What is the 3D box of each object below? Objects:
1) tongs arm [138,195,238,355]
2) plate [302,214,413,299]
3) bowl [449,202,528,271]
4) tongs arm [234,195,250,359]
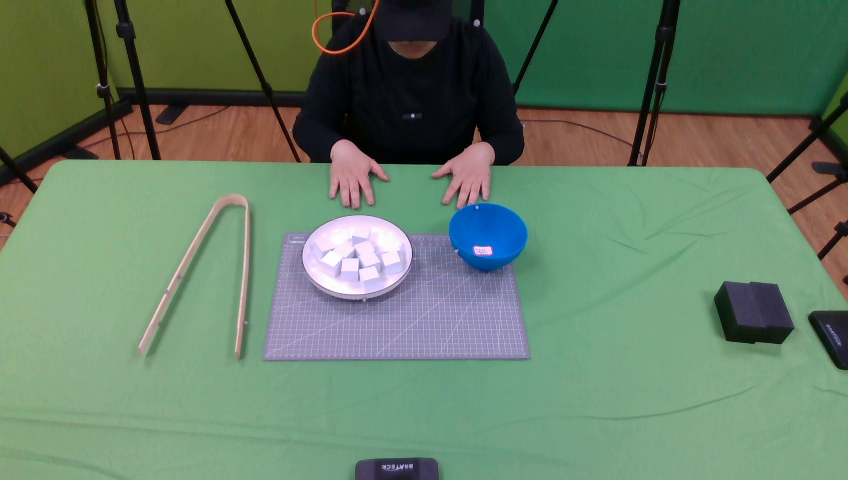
[{"bbox_3d":[-0.421,0.047,1.111,0.051,0.026,0.382,6,45,0],"label":"tongs arm"},{"bbox_3d":[-0.124,0.033,1.143,0.208,0.039,0.206,2,46,-2],"label":"plate"},{"bbox_3d":[0.118,0.007,1.160,0.151,0.077,0.150,2,46,-2],"label":"bowl"},{"bbox_3d":[-0.339,0.052,1.118,0.028,0.028,0.385,-7,47,-7],"label":"tongs arm"}]
